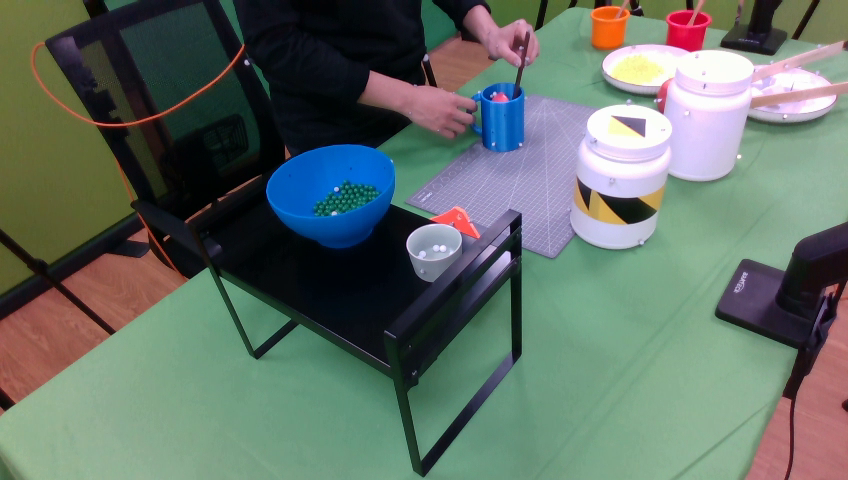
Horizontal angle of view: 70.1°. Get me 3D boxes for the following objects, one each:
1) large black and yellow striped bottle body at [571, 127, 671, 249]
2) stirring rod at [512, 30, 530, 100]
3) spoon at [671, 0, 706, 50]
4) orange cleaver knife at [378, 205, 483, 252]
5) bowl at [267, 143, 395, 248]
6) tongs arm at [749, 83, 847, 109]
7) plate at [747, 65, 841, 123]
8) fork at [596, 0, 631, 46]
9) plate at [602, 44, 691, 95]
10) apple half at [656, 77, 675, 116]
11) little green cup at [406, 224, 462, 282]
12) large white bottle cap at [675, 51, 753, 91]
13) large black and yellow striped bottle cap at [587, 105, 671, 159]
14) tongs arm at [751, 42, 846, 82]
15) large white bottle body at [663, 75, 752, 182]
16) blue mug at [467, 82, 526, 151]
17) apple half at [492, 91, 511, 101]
[{"bbox_3d":[0.296,-0.093,0.915,0.131,0.185,0.130,-3,42,3],"label":"large black and yellow striped bottle body"},{"bbox_3d":[0.177,-0.305,1.125,0.006,0.176,0.014,-6,44,-13],"label":"stirring rod"},{"bbox_3d":[0.629,-0.520,1.394,0.041,0.022,0.193,30,96,34],"label":"spoon"},{"bbox_3d":[0.005,-0.010,0.944,0.210,0.077,0.012,-5,23,47],"label":"orange cleaver knife"},{"bbox_3d":[-0.104,-0.043,0.726,0.151,0.077,0.150,-4,40,4],"label":"bowl"},{"bbox_3d":[0.734,-0.280,1.133,0.388,0.028,0.028,-9,47,-5],"label":"tongs arm"},{"bbox_3d":[0.695,-0.283,1.189,0.207,0.039,0.206,-4,40,4],"label":"plate"},{"bbox_3d":[0.481,-0.555,1.452,0.028,0.019,0.207,41,104,40],"label":"fork"},{"bbox_3d":[0.494,-0.367,1.317,0.209,0.038,0.208,-4,40,4],"label":"plate"},{"bbox_3d":[0.488,-0.281,1.192,0.053,0.075,0.081,24,54,37],"label":"apple half"},{"bbox_3d":[0.012,0.015,0.668,0.061,0.039,0.061,-4,40,4],"label":"little green cup"},{"bbox_3d":[0.463,-0.271,0.967,0.115,0.018,0.114,-4,40,3],"label":"large white bottle cap"},{"bbox_3d":[0.290,-0.154,0.858,0.115,0.019,0.114,-4,42,4],"label":"large black and yellow striped bottle cap"},{"bbox_3d":[0.708,-0.331,1.194,0.386,0.026,0.050,-18,45,-16],"label":"tongs arm"},{"bbox_3d":[0.472,-0.207,1.022,0.130,0.185,0.130,-4,41,4],"label":"large white bottle body"},{"bbox_3d":[0.139,-0.241,1.169,0.116,0.106,0.082,11,44,21],"label":"blue mug"},{"bbox_3d":[0.144,-0.240,1.154,0.033,0.081,0.080,-13,40,-20],"label":"apple half"}]
